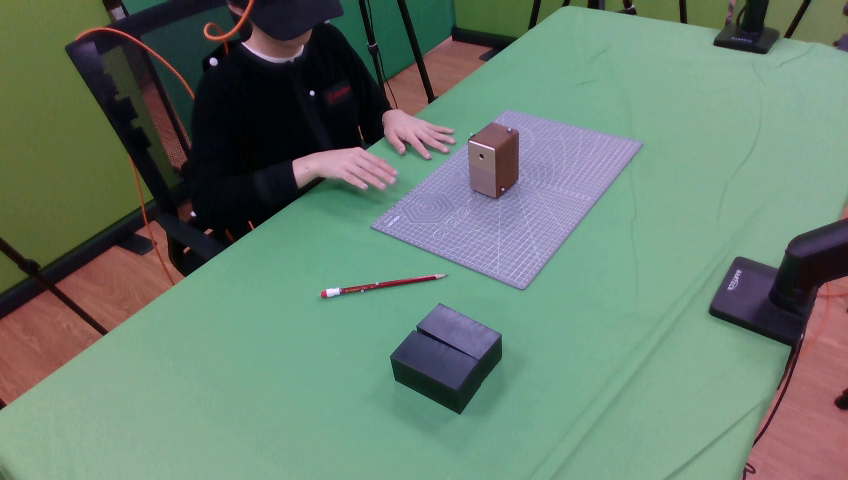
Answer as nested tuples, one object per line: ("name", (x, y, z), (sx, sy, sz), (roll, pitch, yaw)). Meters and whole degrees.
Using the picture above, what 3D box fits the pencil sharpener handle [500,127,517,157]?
("pencil sharpener handle", (0.154, -0.178, 1.072), (0.036, 0.068, 0.031), (36, 55, 20))

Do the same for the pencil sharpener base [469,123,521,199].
("pencil sharpener base", (0.126, -0.138, 1.050), (0.061, 0.107, 0.077), (24, 50, 33))

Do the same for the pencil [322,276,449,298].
("pencil", (-0.058, 0.069, 0.916), (0.194, 0.012, 0.012), (-8, 40, -2))
